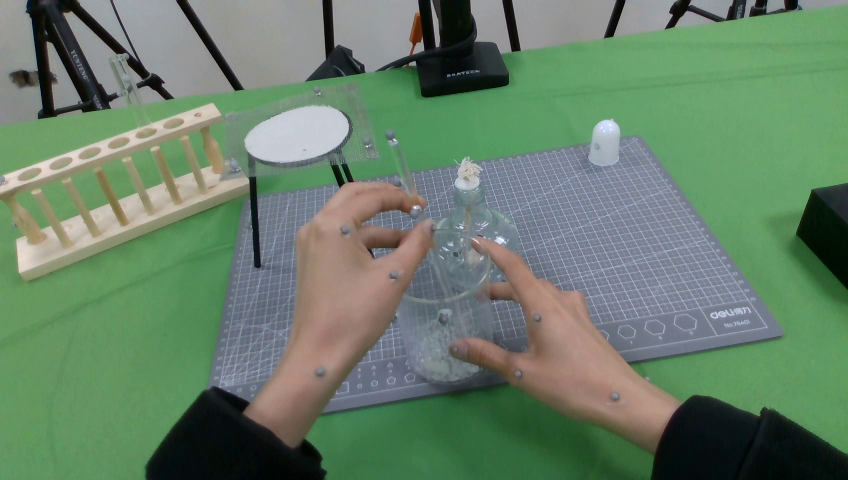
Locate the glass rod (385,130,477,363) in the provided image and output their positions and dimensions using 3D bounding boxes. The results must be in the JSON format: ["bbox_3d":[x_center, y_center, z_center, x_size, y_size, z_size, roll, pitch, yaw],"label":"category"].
[{"bbox_3d":[0.008,0.015,0.413,0.008,0.201,0.008,-14,33,10],"label":"glass rod"}]

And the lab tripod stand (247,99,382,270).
[{"bbox_3d":[-0.101,-0.047,0.550,0.148,0.133,0.147,-5,44,5],"label":"lab tripod stand"}]

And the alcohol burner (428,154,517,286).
[{"bbox_3d":[0.040,-0.020,0.512,0.078,0.120,0.077,-5,40,5],"label":"alcohol burner"}]

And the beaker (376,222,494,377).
[{"bbox_3d":[0.013,0.048,0.452,0.084,0.101,0.073,-3,42,7],"label":"beaker"}]

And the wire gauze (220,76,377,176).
[{"bbox_3d":[-0.109,-0.096,0.505,0.125,0.011,0.120,-13,42,-4],"label":"wire gauze"}]

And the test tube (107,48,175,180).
[{"bbox_3d":[-0.295,-0.127,0.637,0.017,0.151,0.017,-4,39,4],"label":"test tube"}]

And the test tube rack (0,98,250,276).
[{"bbox_3d":[-0.318,-0.061,0.642,0.242,0.086,0.066,-26,44,-18],"label":"test tube rack"}]

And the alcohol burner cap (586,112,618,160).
[{"bbox_3d":[0.191,-0.113,0.645,0.034,0.048,0.033,-4,42,4],"label":"alcohol burner cap"}]
